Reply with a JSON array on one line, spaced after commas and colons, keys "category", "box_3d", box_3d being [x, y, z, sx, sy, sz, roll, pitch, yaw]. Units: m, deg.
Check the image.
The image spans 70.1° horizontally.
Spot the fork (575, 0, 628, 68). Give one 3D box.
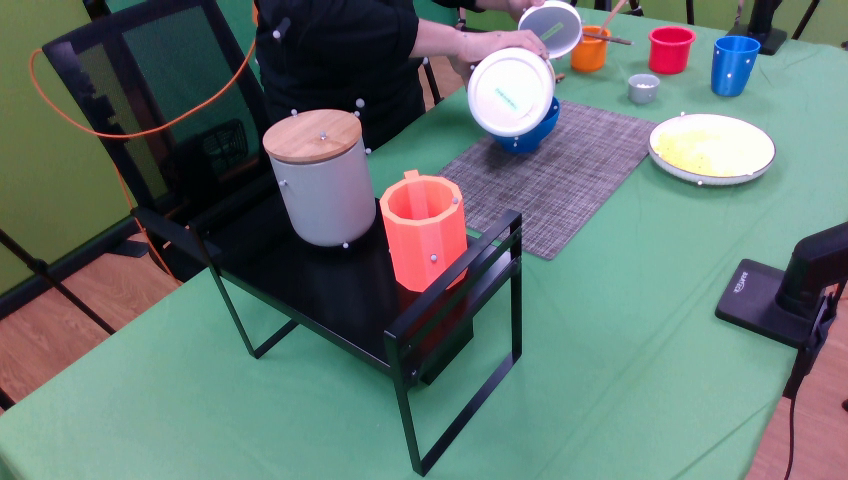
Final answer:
[{"category": "fork", "box_3d": [0.413, -0.481, 1.377, 0.207, 0.019, 0.028, -57, 43, 12]}]

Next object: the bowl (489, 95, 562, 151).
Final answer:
[{"category": "bowl", "box_3d": [0.187, -0.223, 1.161, 0.151, 0.077, 0.150, -5, 40, 4]}]

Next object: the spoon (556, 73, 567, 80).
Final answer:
[{"category": "spoon", "box_3d": [0.250, -0.337, 1.332, 0.194, 0.022, 0.041, -32, 32, -25]}]

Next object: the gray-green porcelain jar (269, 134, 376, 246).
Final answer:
[{"category": "gray-green porcelain jar", "box_3d": [-0.115, -0.064, 0.715, 0.106, 0.127, 0.105, -4, 40, 4]}]

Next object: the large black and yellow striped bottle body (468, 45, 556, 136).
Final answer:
[{"category": "large black and yellow striped bottle body", "box_3d": [0.150, -0.252, 0.999, 0.130, 0.131, 0.184, 3, 21, 13]}]

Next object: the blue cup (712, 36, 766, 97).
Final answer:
[{"category": "blue cup", "box_3d": [0.627, -0.350, 1.227, 0.092, 0.100, 0.092, -4, 39, 4]}]

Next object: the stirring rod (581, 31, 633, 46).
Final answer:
[{"category": "stirring rod", "box_3d": [0.382, -0.454, 1.345, 0.174, 0.006, 0.014, 27, 53, 34]}]

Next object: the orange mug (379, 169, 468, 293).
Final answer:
[{"category": "orange mug", "box_3d": [-0.002, -0.019, 0.665, 0.083, 0.101, 0.125, -12, 45, -4]}]

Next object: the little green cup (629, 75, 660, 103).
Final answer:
[{"category": "little green cup", "box_3d": [0.457, -0.314, 1.260, 0.061, 0.039, 0.061, -4, 40, 4]}]

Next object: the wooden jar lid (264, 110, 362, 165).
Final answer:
[{"category": "wooden jar lid", "box_3d": [-0.122, -0.112, 0.673, 0.108, 0.021, 0.108, -4, 37, 4]}]

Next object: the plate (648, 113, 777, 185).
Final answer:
[{"category": "plate", "box_3d": [0.506, -0.158, 1.073, 0.209, 0.038, 0.208, -5, 40, 4]}]

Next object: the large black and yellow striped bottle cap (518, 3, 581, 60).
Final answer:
[{"category": "large black and yellow striped bottle cap", "box_3d": [0.231, -0.383, 1.114, 0.115, 0.115, 0.018, 0, 57, 10]}]
